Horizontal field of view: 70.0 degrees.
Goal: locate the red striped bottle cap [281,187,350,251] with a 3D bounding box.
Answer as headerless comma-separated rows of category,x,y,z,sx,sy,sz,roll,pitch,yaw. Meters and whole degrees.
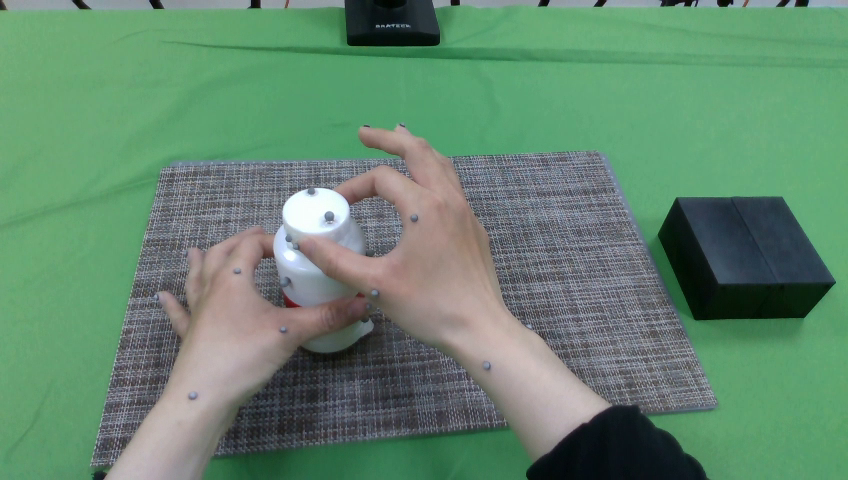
red striped bottle cap,-0.071,-0.015,0.398,0.044,0.018,0.044,4,48,-4

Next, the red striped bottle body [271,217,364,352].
red striped bottle body,-0.075,0.024,0.440,0.063,0.120,0.062,2,47,-2
